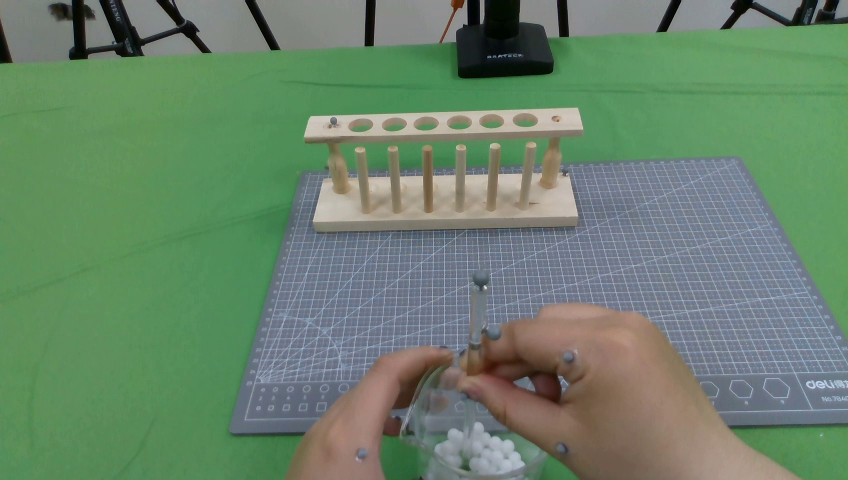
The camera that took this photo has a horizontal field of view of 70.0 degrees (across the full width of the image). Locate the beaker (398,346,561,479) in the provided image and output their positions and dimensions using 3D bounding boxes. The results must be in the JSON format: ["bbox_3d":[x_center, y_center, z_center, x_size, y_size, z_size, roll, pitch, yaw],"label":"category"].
[{"bbox_3d":[0.028,0.120,0.340,0.084,0.101,0.073,-12,46,-12],"label":"beaker"}]

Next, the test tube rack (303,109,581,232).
[{"bbox_3d":[0.016,-0.062,0.552,0.242,0.086,0.066,-1,44,3],"label":"test tube rack"}]

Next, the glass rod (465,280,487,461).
[{"bbox_3d":[0.025,0.078,0.307,0.008,0.201,0.008,-1,52,2],"label":"glass rod"}]
